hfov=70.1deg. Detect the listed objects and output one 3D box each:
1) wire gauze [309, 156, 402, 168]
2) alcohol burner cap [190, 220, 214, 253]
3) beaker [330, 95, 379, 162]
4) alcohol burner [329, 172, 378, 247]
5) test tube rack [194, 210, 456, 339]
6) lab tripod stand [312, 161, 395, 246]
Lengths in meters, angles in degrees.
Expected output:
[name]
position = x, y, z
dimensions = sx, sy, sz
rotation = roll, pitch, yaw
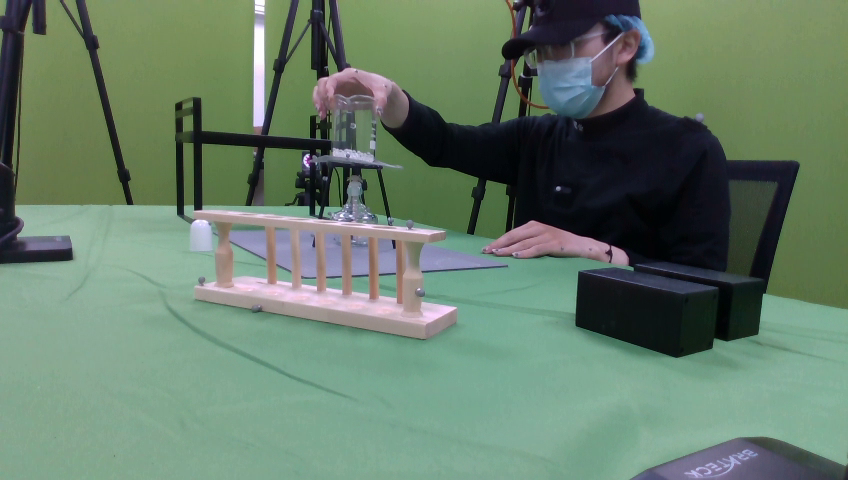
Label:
[wire gauze]
position = -0.111, -0.124, 0.956
dimensions = 0.125, 0.011, 0.121
rotation = 2, 6, -22
[alcohol burner cap]
position = -0.322, -0.006, 0.875
dimensions = 0.034, 0.048, 0.034
rotation = 4, 8, 0
[beaker]
position = -0.111, -0.174, 0.951
dimensions = 0.074, 0.100, 0.084
rotation = 4, 6, 8
[alcohol burner]
position = -0.113, -0.049, 0.972
dimensions = 0.078, 0.119, 0.078
rotation = 1, 9, 0
[test tube rack]
position = -0.093, 0.023, 0.545
dimensions = 0.241, 0.085, 0.067
rotation = 6, 8, 25
[lab tripod stand]
position = -0.110, -0.058, 0.970
dimensions = 0.148, 0.131, 0.148
rotation = 4, 6, 0
